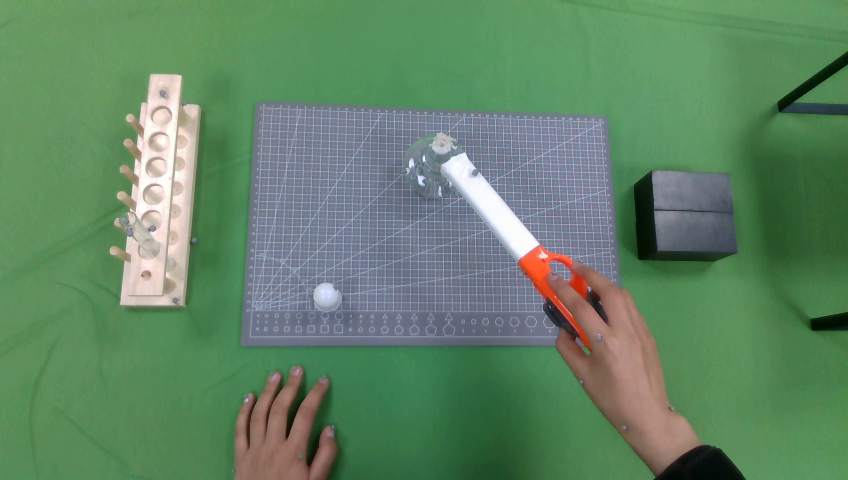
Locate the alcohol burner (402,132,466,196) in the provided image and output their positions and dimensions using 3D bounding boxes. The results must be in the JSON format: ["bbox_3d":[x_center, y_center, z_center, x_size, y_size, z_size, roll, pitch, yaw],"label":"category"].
[{"bbox_3d":[0.014,-0.094,0.696,0.078,0.119,0.077,1,77,-4],"label":"alcohol burner"}]

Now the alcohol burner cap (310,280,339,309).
[{"bbox_3d":[-0.113,0.059,0.683,0.034,0.048,0.033,2,76,-7],"label":"alcohol burner cap"}]

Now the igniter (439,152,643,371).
[{"bbox_3d":[0.112,0.020,0.605,0.057,0.025,0.275,-36,77,-16],"label":"igniter"}]

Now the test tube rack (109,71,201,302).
[{"bbox_3d":[-0.300,-0.057,0.669,0.067,0.085,0.241,1,77,-6],"label":"test tube rack"}]

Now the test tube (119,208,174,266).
[{"bbox_3d":[-0.275,0.000,0.607,0.017,0.150,0.017,3,72,-9],"label":"test tube"}]
